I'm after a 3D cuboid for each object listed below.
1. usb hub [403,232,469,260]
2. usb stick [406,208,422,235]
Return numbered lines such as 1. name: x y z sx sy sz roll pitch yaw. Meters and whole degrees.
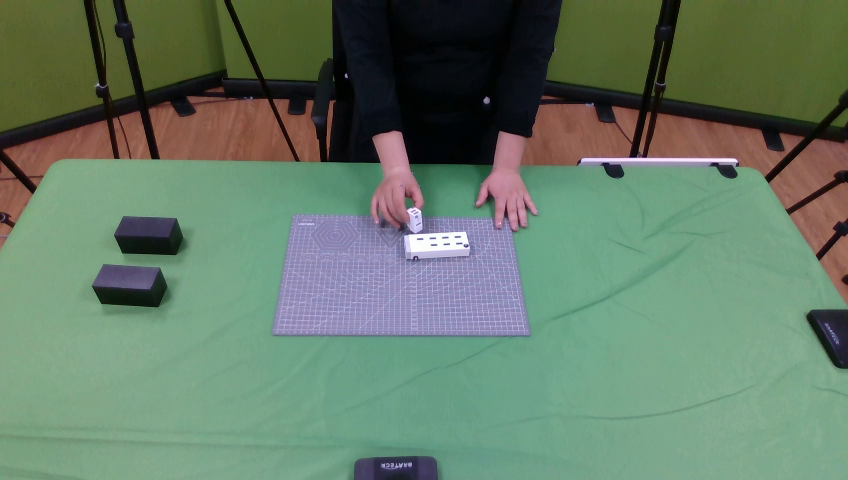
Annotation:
1. usb hub: 0.023 0.012 1.181 0.125 0.025 0.049 -3 46 -7
2. usb stick: -0.019 -0.033 1.199 0.021 0.059 0.027 -32 50 -29
